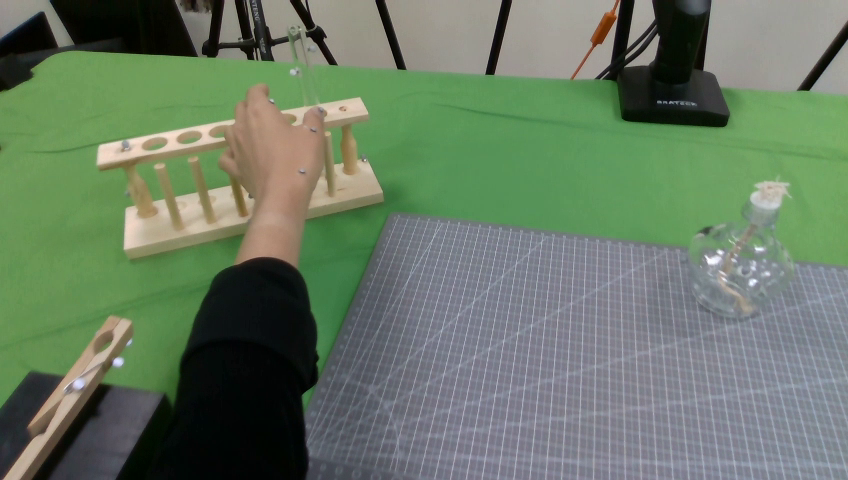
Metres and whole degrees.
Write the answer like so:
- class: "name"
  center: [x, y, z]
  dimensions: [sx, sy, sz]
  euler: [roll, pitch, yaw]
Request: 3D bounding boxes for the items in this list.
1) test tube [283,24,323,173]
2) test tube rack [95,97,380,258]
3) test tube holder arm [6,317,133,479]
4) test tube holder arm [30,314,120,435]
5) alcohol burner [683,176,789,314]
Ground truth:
- class: "test tube"
  center: [-0.110, -0.129, 0.576]
  dimensions: [0.017, 0.151, 0.017]
  euler: [-4, 39, 3]
- class: "test tube rack"
  center: [-0.170, -0.063, 0.579]
  dimensions: [0.243, 0.086, 0.066]
  euler: [-14, 43, -14]
- class: "test tube holder arm"
  center: [-0.225, 0.118, 0.361]
  dimensions: [0.013, 0.015, 0.177]
  euler: [11, 45, 2]
- class: "test tube holder arm"
  center: [-0.223, 0.086, 0.393]
  dimensions: [0.010, 0.015, 0.087]
  euler: [11, 45, 3]
- class: "alcohol burner"
  center: [0.247, 0.001, 0.471]
  dimensions: [0.078, 0.120, 0.077]
  euler: [0, 41, 0]
